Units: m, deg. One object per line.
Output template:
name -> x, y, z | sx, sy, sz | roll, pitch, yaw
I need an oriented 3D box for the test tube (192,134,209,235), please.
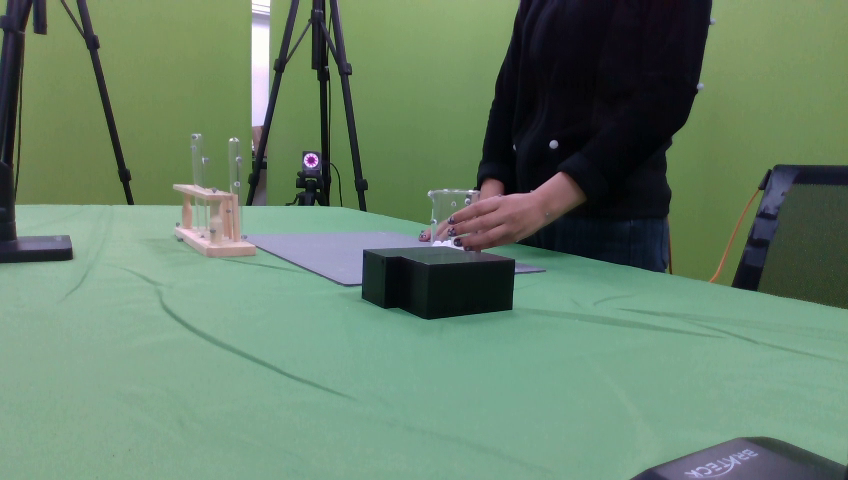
test tube -> -0.332, -0.082, 0.898 | 0.017, 0.150, 0.017 | -2, 6, 0

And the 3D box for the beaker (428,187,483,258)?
beaker -> 0.044, -0.027, 0.895 | 0.084, 0.100, 0.073 | -1, 7, -19

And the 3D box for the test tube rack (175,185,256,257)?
test tube rack -> -0.324, -0.035, 0.922 | 0.067, 0.085, 0.241 | -2, 9, -31

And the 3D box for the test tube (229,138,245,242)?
test tube -> -0.269, -0.071, 0.867 | 0.017, 0.150, 0.017 | 0, 9, 0
